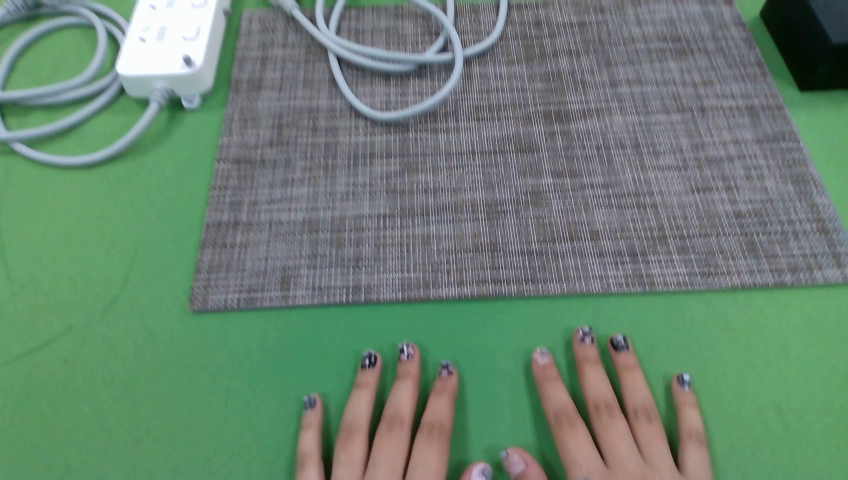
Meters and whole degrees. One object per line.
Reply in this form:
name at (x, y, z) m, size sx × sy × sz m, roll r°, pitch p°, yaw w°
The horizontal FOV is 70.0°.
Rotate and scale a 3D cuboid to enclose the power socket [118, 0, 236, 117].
power socket at (-0.213, -0.202, 0.544) m, size 0.072 × 0.033 × 0.224 m, roll -2°, pitch 58°, yaw 0°
